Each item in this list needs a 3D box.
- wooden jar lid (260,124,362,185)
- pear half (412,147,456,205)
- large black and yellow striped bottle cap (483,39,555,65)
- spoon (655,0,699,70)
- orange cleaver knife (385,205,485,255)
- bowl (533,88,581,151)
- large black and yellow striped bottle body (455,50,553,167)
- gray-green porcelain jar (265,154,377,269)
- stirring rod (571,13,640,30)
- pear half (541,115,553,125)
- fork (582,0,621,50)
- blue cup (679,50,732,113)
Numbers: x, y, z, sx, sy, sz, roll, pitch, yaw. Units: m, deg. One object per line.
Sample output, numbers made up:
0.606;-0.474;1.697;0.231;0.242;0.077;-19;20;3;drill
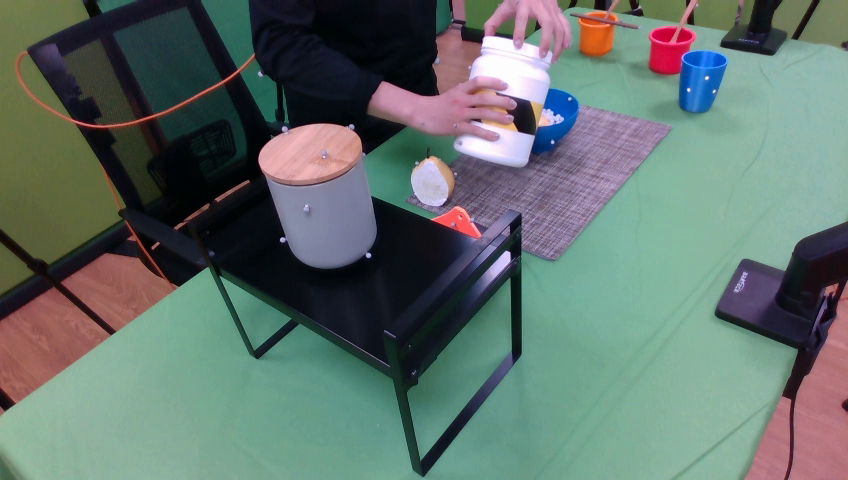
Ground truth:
-0.119;-0.088;0.645;0.108;0.021;0.108;-4;40;4;wooden jar lid
0.019;-0.120;1.043;0.076;0.110;0.056;11;44;16;pear half
0.153;-0.302;0.971;0.115;0.019;0.115;12;13;-3;large black and yellow striped bottle cap
0.567;-0.463;1.337;0.041;0.022;0.193;30;96;38;spoon
0.012;-0.010;0.942;0.012;0.077;0.210;-36;19;-35;orange cleaver knife
0.220;-0.223;1.155;0.151;0.077;0.150;-4;40;4;bowl
0.134;-0.223;0.993;0.131;0.184;0.130;13;15;-3;large black and yellow striped bottle body
-0.112;-0.039;0.685;0.106;0.127;0.105;-4;40;4;gray-green porcelain jar
0.418;-0.508;1.404;0.174;0.006;0.014;28;54;35;stirring rod
0.212;-0.227;1.152;0.088;0.031;0.070;7;44;10;pear half
0.446;-0.539;1.438;0.207;0.019;0.028;-57;36;12;fork
0.546;-0.309;1.193;0.092;0.100;0.092;-4;39;4;blue cup
